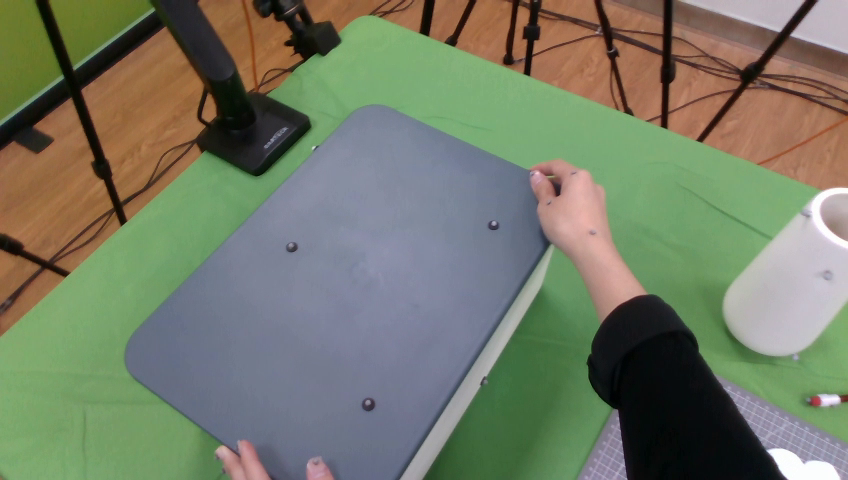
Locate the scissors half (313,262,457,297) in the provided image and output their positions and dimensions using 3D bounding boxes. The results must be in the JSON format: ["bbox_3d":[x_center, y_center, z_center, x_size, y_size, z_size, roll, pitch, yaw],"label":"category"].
[{"bbox_3d":[-0.047,0.051,0.714,0.175,0.040,0.013,-5,18,8],"label":"scissors half"}]

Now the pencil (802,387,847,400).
[{"bbox_3d":[0.488,0.150,0.627,0.194,0.012,0.012,-6,56,-3],"label":"pencil"}]

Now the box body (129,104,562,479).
[{"bbox_3d":[-0.055,0.067,0.617,0.252,0.162,0.363,27,62,19],"label":"box body"}]

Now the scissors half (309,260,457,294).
[{"bbox_3d":[-0.048,0.038,0.709,0.175,0.040,0.012,4,25,3],"label":"scissors half"}]

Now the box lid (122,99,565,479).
[{"bbox_3d":[-0.057,0.024,0.554,0.262,0.015,0.370,28,62,18],"label":"box lid"}]

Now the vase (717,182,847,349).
[{"bbox_3d":[0.367,0.030,0.600,0.098,0.202,0.097,-2,55,3],"label":"vase"}]

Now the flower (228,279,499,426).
[{"bbox_3d":[-0.046,0.111,0.689,0.362,0.044,0.038,-22,23,-32],"label":"flower"}]
